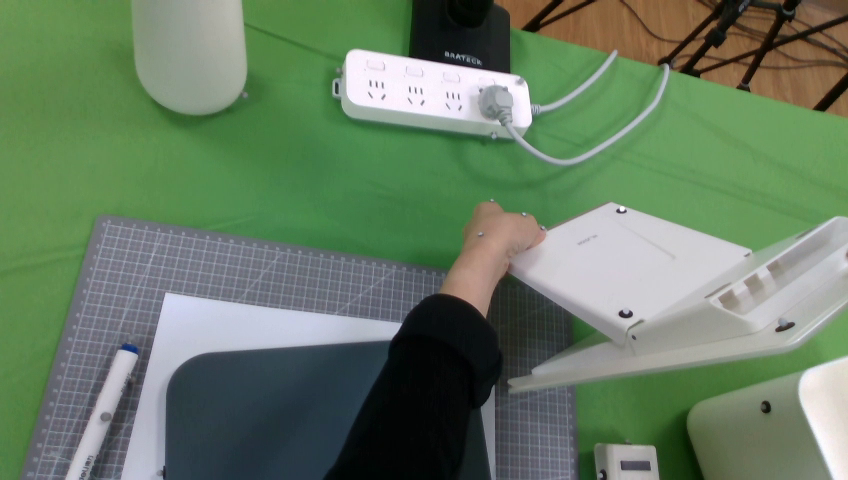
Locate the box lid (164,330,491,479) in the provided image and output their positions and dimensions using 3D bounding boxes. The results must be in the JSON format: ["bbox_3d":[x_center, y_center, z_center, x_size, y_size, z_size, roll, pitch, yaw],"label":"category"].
[{"bbox_3d":[-0.061,0.254,0.474,0.264,0.015,0.369,-1,70,-20],"label":"box lid"}]

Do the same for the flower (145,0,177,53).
[{"bbox_3d":[-0.159,-0.217,0.433,0.044,0.360,0.038,-39,102,-36],"label":"flower"}]

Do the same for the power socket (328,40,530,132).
[{"bbox_3d":[0.012,-0.164,0.656,0.228,0.032,0.071,4,68,-18],"label":"power socket"}]

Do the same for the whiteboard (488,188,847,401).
[{"bbox_3d":[0.189,0.002,0.492,0.217,0.306,0.143,-23,80,-26],"label":"whiteboard"}]

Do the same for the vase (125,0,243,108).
[{"bbox_3d":[-0.201,-0.198,0.503,0.098,0.200,0.097,6,66,-15],"label":"vase"}]

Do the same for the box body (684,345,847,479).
[{"bbox_3d":[0.427,0.277,0.545,0.255,0.161,0.361,-9,72,-22],"label":"box body"}]

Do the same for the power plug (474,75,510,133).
[{"bbox_3d":[0.068,-0.141,0.640,0.035,0.053,0.072,14,71,-13],"label":"power plug"}]

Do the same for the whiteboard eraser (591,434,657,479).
[{"bbox_3d":[0.183,0.234,0.549,0.056,0.042,0.112,7,67,-18],"label":"whiteboard eraser"}]

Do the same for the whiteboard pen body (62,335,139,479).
[{"bbox_3d":[-0.244,0.139,0.448,0.017,0.017,0.140,17,67,-11],"label":"whiteboard pen body"}]
